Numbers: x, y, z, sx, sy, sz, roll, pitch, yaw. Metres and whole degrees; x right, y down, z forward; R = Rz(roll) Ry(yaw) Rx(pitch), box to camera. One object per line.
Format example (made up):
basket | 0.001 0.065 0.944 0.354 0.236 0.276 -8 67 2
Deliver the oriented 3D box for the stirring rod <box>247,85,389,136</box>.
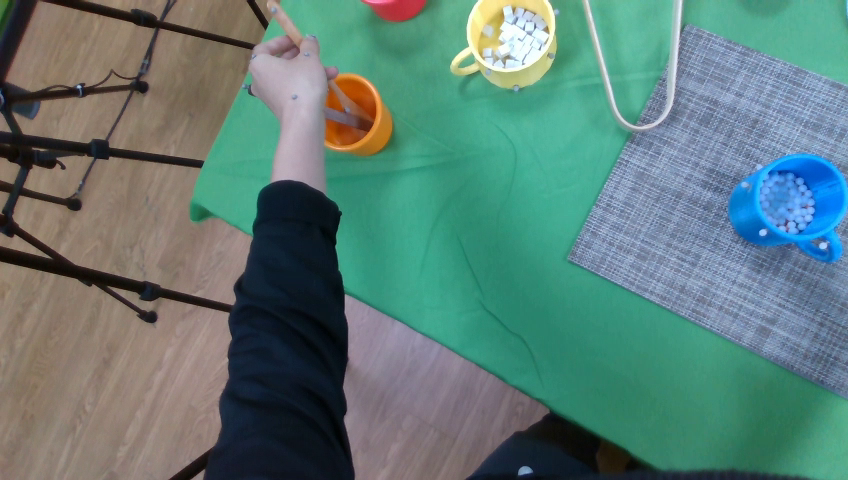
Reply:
stirring rod | -0.121 -0.153 0.720 0.177 0.006 0.014 12 84 -27

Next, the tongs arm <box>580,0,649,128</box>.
tongs arm | 0.190 -0.313 0.686 0.051 0.026 0.385 -12 92 9

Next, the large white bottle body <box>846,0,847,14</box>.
large white bottle body | 0.497 -0.264 0.557 0.130 0.185 0.130 -1 87 14

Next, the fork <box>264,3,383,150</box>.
fork | -0.116 -0.188 0.714 0.028 0.018 0.209 -36 124 5

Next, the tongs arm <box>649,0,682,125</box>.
tongs arm | 0.272 -0.323 0.670 0.028 0.028 0.388 2 95 5

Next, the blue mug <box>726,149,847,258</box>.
blue mug | 0.374 -0.029 0.614 0.082 0.106 0.116 -38 80 9

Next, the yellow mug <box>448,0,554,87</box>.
yellow mug | 0.087 -0.231 0.712 0.131 0.064 0.099 -26 83 12
